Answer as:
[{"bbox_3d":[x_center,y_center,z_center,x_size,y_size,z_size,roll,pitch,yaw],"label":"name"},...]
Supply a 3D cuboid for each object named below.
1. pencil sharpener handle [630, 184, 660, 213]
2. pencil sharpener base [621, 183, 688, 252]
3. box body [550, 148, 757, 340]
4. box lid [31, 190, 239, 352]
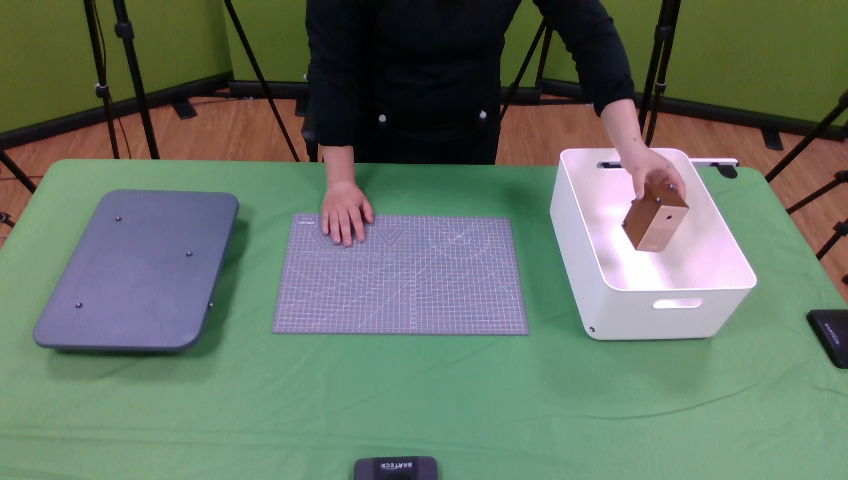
[{"bbox_3d":[0.404,-0.083,1.118,0.036,0.068,0.030,8,38,-17],"label":"pencil sharpener handle"},{"bbox_3d":[0.410,-0.041,1.088,0.061,0.107,0.076,3,40,-14],"label":"pencil sharpener base"},{"bbox_3d":[0.395,0.003,1.127,0.254,0.161,0.361,-1,46,-5],"label":"box body"},{"bbox_3d":[-0.491,0.040,1.070,0.263,0.015,0.369,1,46,-3],"label":"box lid"}]
